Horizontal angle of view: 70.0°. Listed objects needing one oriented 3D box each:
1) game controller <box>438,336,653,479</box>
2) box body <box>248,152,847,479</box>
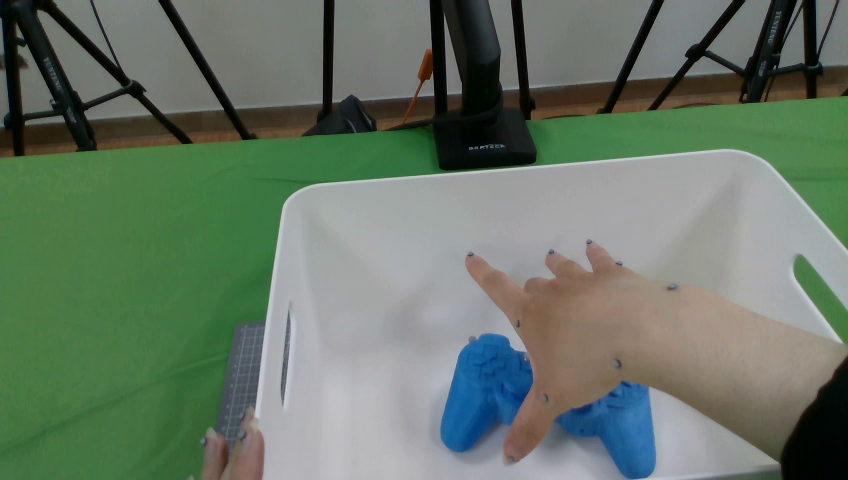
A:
[{"bbox_3d":[0.094,0.120,0.459,0.155,0.052,0.096,7,38,9],"label":"game controller"},{"bbox_3d":[0.091,0.087,0.419,0.364,0.162,0.251,-5,42,-3],"label":"box body"}]
